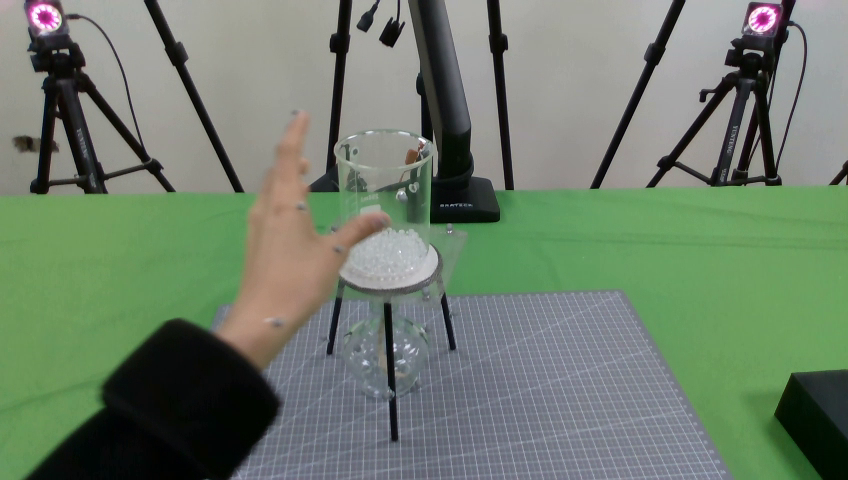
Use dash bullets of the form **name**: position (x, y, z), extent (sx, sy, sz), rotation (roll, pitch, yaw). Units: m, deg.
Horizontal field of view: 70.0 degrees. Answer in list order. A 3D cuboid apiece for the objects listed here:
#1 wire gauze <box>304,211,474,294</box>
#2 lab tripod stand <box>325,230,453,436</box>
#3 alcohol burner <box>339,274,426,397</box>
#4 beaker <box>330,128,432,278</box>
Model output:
- **wire gauze**: position (-0.028, 0.005, 0.481), extent (0.125, 0.011, 0.120), rotation (2, 28, -8)
- **lab tripod stand**: position (-0.029, 0.071, 0.529), extent (0.148, 0.132, 0.147), rotation (2, 33, -1)
- **alcohol burner**: position (-0.036, 0.080, 0.535), extent (0.078, 0.120, 0.077), rotation (2, 31, -1)
- **beaker**: position (-0.030, -0.028, 0.473), extent (0.084, 0.101, 0.073), rotation (-22, 40, -34)
